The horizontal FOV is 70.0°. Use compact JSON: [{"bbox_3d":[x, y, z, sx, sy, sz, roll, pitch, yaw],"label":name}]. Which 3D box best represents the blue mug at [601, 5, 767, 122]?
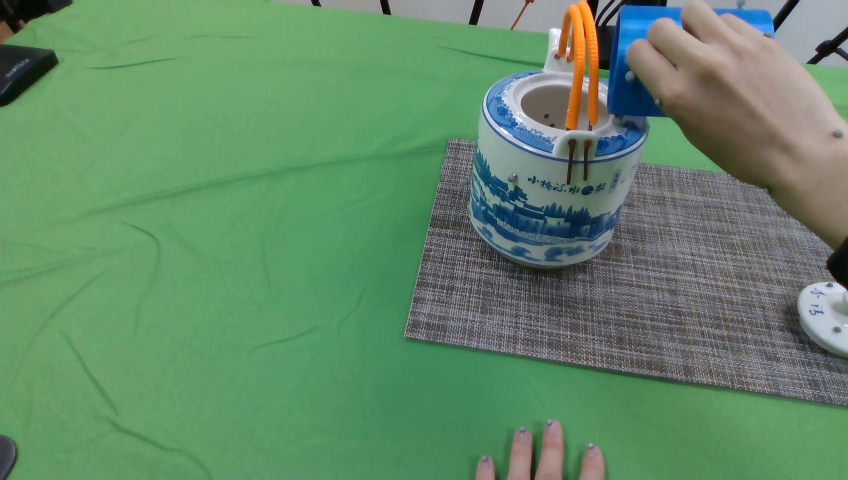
[{"bbox_3d":[0.192,-0.132,0.454,0.105,0.082,0.116,6,17,11],"label":"blue mug"}]

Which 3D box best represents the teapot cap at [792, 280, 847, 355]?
[{"bbox_3d":[0.371,0.063,0.533,0.085,0.044,0.084,4,43,-3],"label":"teapot cap"}]

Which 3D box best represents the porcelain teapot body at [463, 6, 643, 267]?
[{"bbox_3d":[0.116,-0.112,0.561,0.145,0.227,0.203,3,44,-1],"label":"porcelain teapot body"}]
